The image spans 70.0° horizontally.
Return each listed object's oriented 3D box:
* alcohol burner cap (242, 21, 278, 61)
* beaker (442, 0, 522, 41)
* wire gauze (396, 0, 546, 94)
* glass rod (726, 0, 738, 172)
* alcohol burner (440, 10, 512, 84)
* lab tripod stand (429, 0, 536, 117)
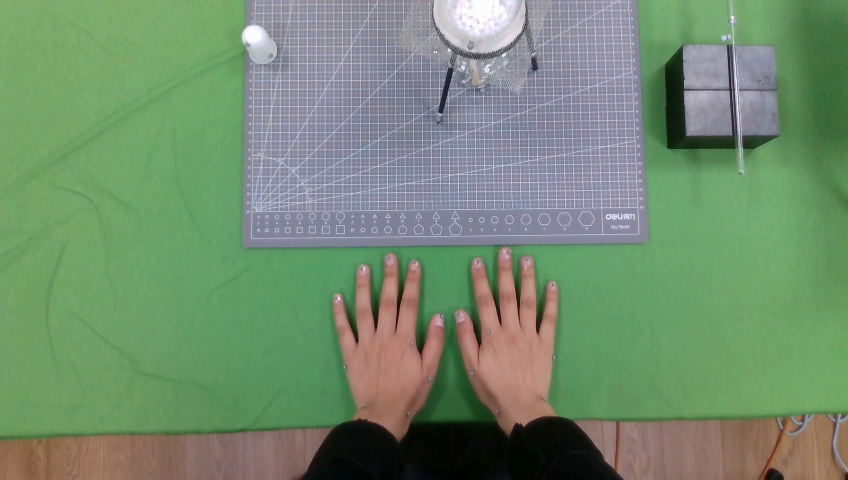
[{"bbox_3d":[-0.184,-0.223,0.672,0.034,0.048,0.034,0,83,1],"label":"alcohol burner cap"},{"bbox_3d":[0.051,-0.223,0.514,0.074,0.100,0.084,-25,84,-4],"label":"beaker"},{"bbox_3d":[0.050,-0.214,0.562,0.125,0.011,0.121,21,86,-1],"label":"wire gauze"},{"bbox_3d":[0.326,-0.170,0.642,0.008,0.008,0.199,1,85,0],"label":"glass rod"},{"bbox_3d":[0.057,-0.211,0.637,0.078,0.119,0.077,0,84,-2],"label":"alcohol burner"},{"bbox_3d":[0.054,-0.209,0.627,0.148,0.132,0.148,0,82,-1],"label":"lab tripod stand"}]
